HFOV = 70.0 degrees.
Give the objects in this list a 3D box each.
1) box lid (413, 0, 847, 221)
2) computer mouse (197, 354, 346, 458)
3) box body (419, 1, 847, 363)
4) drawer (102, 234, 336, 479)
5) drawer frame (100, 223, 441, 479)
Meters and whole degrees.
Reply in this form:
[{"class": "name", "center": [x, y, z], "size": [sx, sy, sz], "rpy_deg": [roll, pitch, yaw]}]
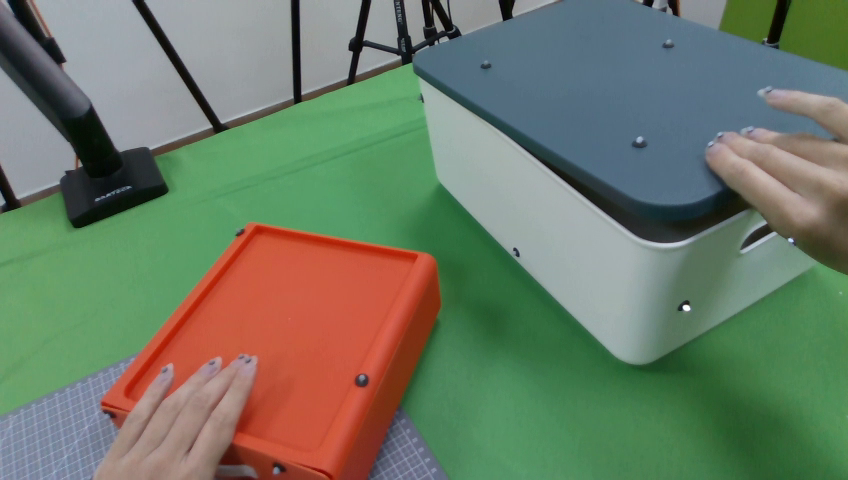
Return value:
[{"class": "box lid", "center": [0.177, -0.145, 0.543], "size": [0.263, 0.015, 0.367], "rpy_deg": [-24, 40, -18]}, {"class": "computer mouse", "center": [-0.125, 0.132, 0.496], "size": [0.117, 0.041, 0.062], "rpy_deg": [14, 43, 13]}, {"class": "box body", "center": [0.186, -0.082, 0.602], "size": [0.254, 0.162, 0.360], "rpy_deg": [-24, 45, -17]}, {"class": "drawer", "center": [-0.115, 0.097, 0.513], "size": [0.193, 0.074, 0.210], "rpy_deg": [9, 44, 19]}, {"class": "drawer frame", "center": [-0.115, 0.093, 0.514], "size": [0.201, 0.083, 0.212], "rpy_deg": [9, 44, 18]}]
